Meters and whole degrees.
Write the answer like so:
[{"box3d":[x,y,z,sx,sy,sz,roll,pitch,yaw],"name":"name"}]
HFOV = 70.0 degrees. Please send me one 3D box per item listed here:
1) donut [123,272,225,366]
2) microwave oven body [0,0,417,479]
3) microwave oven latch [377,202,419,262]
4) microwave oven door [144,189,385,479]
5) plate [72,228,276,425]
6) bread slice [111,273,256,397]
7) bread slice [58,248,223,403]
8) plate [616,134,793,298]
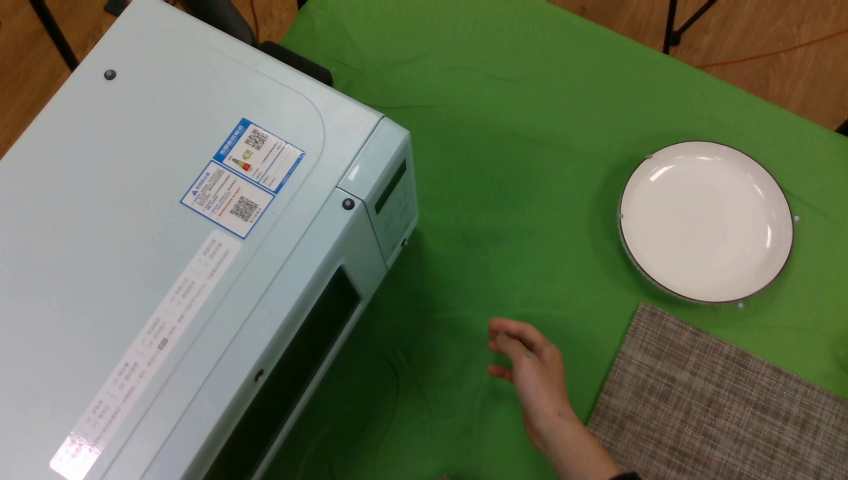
[{"box3d":[-0.256,0.082,0.626,0.099,0.048,0.098,4,71,-10],"name":"donut"},{"box3d":[-0.255,0.036,0.618,0.325,0.261,0.440,29,77,9],"name":"microwave oven body"},{"box3d":[-0.036,-0.014,0.728,0.030,0.029,0.079,31,78,9],"name":"microwave oven latch"},{"box3d":[-0.151,0.139,0.581,0.039,0.245,0.355,28,76,9],"name":"microwave oven door"},{"box3d":[-0.263,0.091,0.653,0.209,0.038,0.208,1,76,-4],"name":"plate"},{"box3d":[-0.269,0.108,0.667,0.104,0.019,0.131,46,58,10],"name":"bread slice"},{"box3d":[-0.271,0.074,0.600,0.107,0.018,0.134,39,70,1],"name":"bread slice"},{"box3d":[0.338,-0.028,0.745,0.208,0.039,0.206,0,74,1],"name":"plate"}]
